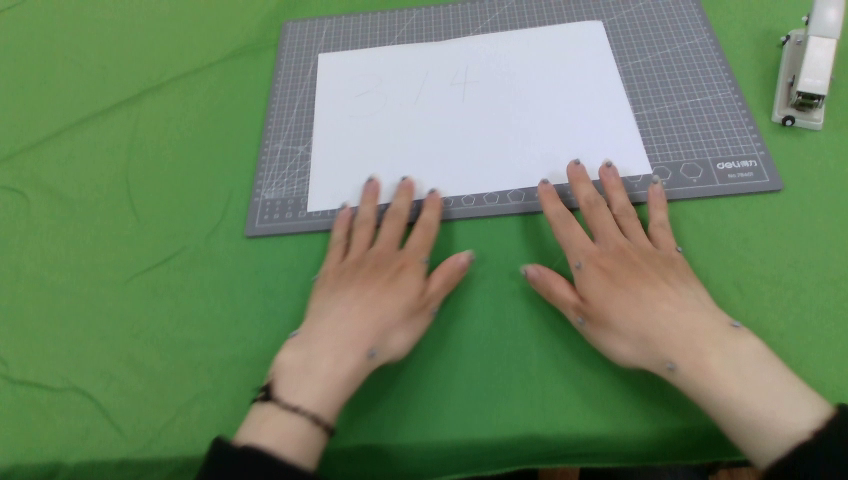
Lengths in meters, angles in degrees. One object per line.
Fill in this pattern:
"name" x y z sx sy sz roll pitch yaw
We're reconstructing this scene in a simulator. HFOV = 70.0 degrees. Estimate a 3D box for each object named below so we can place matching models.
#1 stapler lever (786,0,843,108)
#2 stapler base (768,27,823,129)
"stapler lever" 0.341 -0.168 0.528 0.026 0.040 0.117 15 61 21
"stapler base" 0.345 -0.156 0.549 0.041 0.025 0.130 15 61 20
